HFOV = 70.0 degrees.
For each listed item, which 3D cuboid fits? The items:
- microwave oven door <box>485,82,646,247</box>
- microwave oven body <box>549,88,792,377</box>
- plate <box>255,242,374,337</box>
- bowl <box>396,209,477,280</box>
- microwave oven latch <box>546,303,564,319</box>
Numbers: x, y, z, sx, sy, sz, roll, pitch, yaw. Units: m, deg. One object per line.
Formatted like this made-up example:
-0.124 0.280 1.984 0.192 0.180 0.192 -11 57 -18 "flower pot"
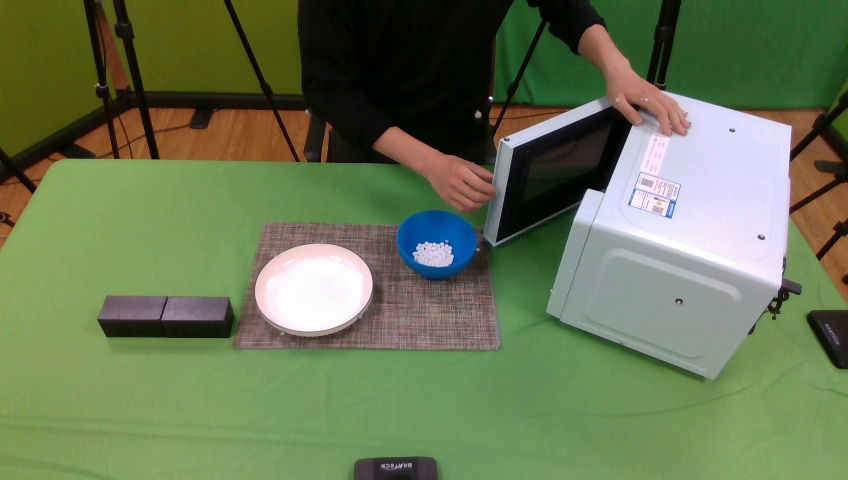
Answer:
0.277 -0.150 1.183 0.356 0.245 0.039 -26 52 -25 "microwave oven door"
0.456 -0.028 1.088 0.325 0.261 0.440 20 47 16 "microwave oven body"
-0.192 0.090 1.079 0.208 0.039 0.206 2 46 -2 "plate"
0.021 0.021 1.134 0.151 0.077 0.150 2 46 -2 "bowl"
0.242 0.102 1.081 0.030 0.029 0.079 22 48 17 "microwave oven latch"
